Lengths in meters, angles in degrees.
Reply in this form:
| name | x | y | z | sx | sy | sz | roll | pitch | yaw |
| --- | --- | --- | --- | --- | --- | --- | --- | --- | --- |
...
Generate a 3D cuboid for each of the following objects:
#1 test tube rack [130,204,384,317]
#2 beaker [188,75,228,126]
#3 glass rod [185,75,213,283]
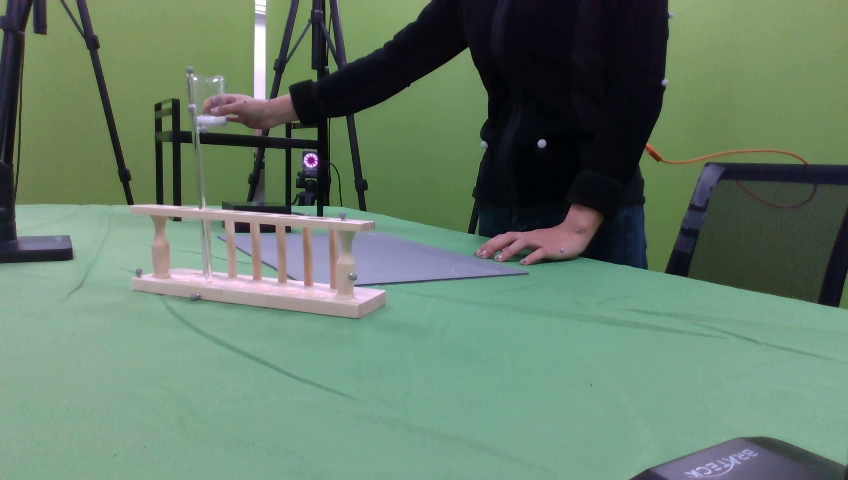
| name | x | y | z | sx | sy | sz | roll | pitch | yaw |
| --- | --- | --- | --- | --- | --- | --- | --- | --- | --- |
| test tube rack | -0.163 | 0.013 | 0.589 | 0.242 | 0.085 | 0.067 | 5 | 8 | 17 |
| beaker | -0.442 | -0.286 | 1.248 | 0.074 | 0.100 | 0.083 | -5 | 11 | -29 |
| glass rod | -0.210 | -0.052 | 0.568 | 0.008 | 0.199 | 0.008 | 0 | 14 | 0 |
